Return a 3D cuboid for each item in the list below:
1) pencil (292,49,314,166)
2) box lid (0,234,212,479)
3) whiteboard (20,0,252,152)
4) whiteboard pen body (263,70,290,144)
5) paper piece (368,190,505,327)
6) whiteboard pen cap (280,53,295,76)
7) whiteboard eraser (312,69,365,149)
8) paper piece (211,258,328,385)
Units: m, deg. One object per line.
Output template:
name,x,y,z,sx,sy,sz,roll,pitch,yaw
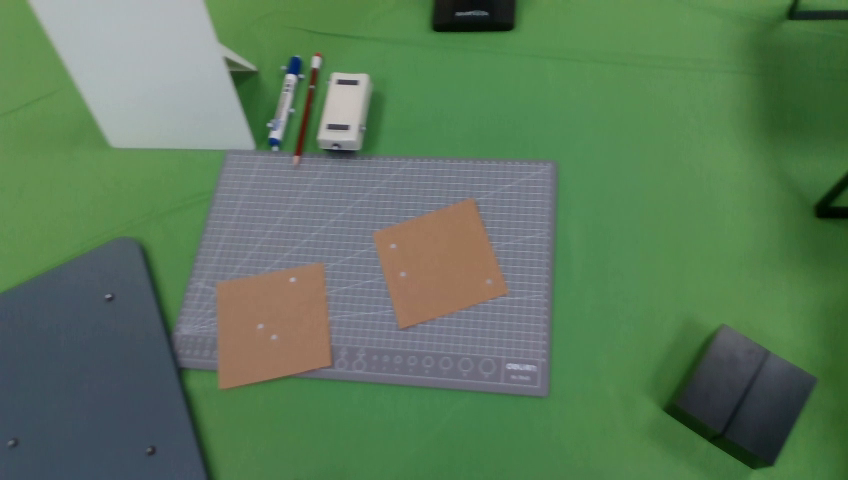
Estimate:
pencil,-0.169,-0.187,0.844,0.012,0.012,0.192,0,67,7
box lid,-0.418,0.185,0.714,0.263,0.015,0.368,-26,67,-5
whiteboard,-0.348,-0.279,0.776,0.217,0.308,0.142,3,48,9
whiteboard pen body,-0.204,-0.198,0.848,0.017,0.017,0.140,4,67,9
paper piece,0.012,0.021,0.732,0.136,0.009,0.137,-20,68,3
whiteboard pen cap,-0.196,-0.251,0.869,0.018,0.018,0.033,2,66,8
whiteboard eraser,-0.114,-0.176,0.816,0.055,0.042,0.112,2,67,9
paper piece,-0.187,0.095,0.723,0.135,0.004,0.134,-11,67,2
